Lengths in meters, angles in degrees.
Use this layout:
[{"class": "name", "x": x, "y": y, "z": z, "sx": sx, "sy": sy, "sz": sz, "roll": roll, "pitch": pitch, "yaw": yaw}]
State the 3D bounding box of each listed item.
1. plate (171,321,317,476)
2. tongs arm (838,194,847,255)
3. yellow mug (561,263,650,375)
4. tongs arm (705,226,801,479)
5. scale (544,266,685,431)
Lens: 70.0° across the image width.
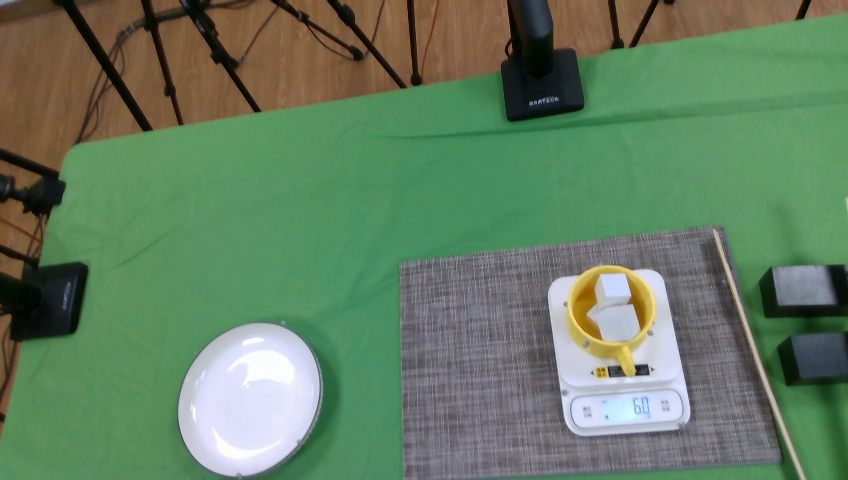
[{"class": "plate", "x": -0.244, "y": 0.217, "z": 0.837, "sx": 0.207, "sy": 0.039, "sz": 0.206, "roll": -4, "pitch": 66, "yaw": 10}, {"class": "tongs arm", "x": 0.472, "y": 0.136, "z": 0.676, "sx": 0.050, "sy": 0.027, "sz": 0.382, "roll": -10, "pitch": 71, "yaw": 34}, {"class": "yellow mug", "x": 0.223, "y": 0.099, "z": 0.734, "sx": 0.100, "sy": 0.064, "sz": 0.129, "roll": -16, "pitch": 66, "yaw": 4}, {"class": "tongs arm", "x": 0.408, "y": 0.155, "z": 0.722, "sx": 0.028, "sy": 0.028, "sz": 0.384, "roll": -23, "pitch": 63, "yaw": 26}, {"class": "scale", "x": 0.237, "y": 0.134, "z": 0.768, "sx": 0.148, "sy": 0.032, "sz": 0.199, "roll": -7, "pitch": 66, "yaw": 10}]
